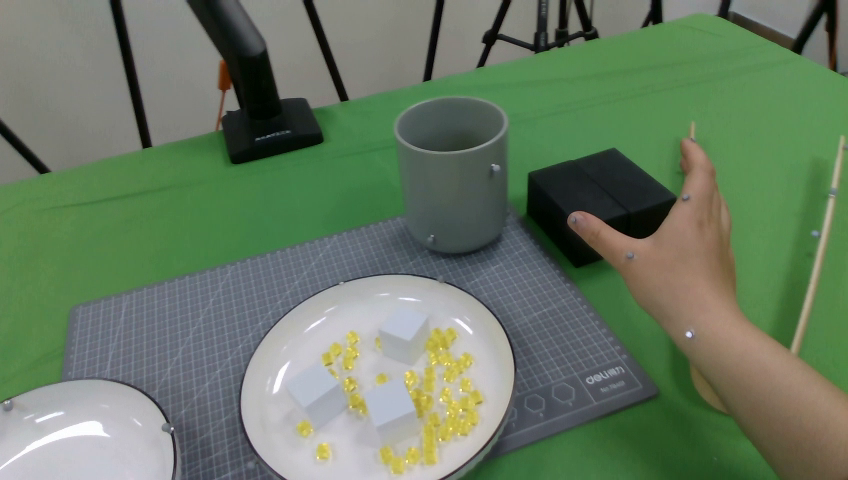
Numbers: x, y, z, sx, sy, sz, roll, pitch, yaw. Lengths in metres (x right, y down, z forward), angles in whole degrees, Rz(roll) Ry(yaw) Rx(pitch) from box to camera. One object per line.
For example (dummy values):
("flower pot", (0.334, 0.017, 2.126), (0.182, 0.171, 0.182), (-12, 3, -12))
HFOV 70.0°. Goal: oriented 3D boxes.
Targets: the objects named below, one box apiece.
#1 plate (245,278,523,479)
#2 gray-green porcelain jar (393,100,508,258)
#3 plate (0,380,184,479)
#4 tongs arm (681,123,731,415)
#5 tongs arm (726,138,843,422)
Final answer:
("plate", (-0.029, 0.113, 0.467), (0.207, 0.039, 0.205), (-4, 40, 3))
("gray-green porcelain jar", (0.029, -0.055, 0.588), (0.106, 0.128, 0.105), (-4, 40, 3))
("plate", (-0.263, 0.190, 0.406), (0.209, 0.038, 0.207), (-4, 41, 4))
("tongs arm", (0.262, -0.004, 0.580), (0.028, 0.028, 0.385), (9, 43, 13))
("tongs arm", (0.336, 0.011, 0.548), (0.050, 0.027, 0.383), (17, 47, 25))
